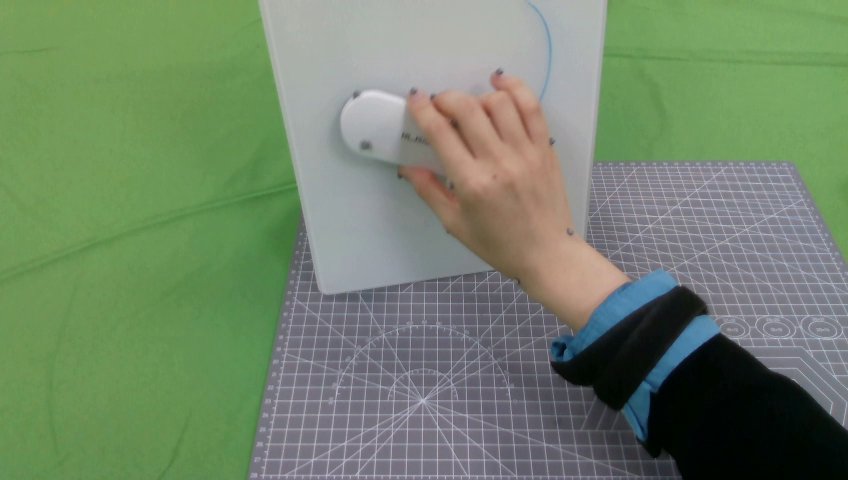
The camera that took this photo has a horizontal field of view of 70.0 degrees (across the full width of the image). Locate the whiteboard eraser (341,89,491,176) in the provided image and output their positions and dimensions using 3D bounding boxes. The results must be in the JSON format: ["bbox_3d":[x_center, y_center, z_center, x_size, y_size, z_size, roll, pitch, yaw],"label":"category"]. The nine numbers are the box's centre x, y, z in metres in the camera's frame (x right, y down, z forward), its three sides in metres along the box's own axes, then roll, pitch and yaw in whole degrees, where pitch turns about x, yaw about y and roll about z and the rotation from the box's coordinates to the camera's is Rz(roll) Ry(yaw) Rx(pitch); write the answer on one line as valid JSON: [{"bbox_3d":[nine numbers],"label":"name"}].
[{"bbox_3d":[-0.005,-0.070,0.401,0.102,0.041,0.018,13,30,-14],"label":"whiteboard eraser"}]

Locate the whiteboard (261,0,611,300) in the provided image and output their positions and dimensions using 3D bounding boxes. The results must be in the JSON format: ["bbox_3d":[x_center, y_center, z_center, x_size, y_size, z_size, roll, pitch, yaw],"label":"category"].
[{"bbox_3d":[0.006,-0.134,0.455,0.217,0.308,0.142,-8,32,-5],"label":"whiteboard"}]
